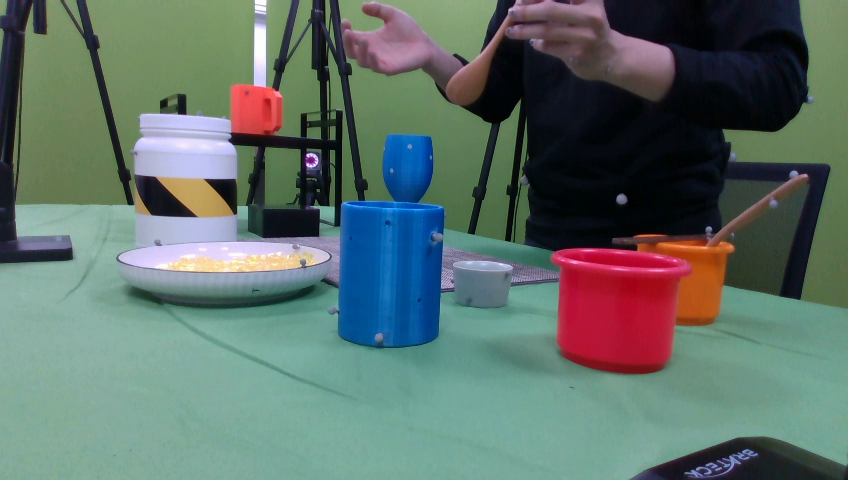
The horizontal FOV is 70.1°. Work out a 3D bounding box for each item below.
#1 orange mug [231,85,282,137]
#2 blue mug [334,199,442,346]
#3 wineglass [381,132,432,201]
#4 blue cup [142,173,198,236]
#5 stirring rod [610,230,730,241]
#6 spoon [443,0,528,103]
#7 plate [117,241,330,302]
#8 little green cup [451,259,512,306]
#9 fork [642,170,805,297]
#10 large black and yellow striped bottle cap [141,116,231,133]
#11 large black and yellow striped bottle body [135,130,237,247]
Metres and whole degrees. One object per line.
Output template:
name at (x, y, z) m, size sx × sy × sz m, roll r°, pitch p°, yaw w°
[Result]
orange mug at (-0.335, -0.261, 1.225) m, size 0.125 × 0.100 × 0.084 m, roll 3°, pitch 6°, yaw 35°
blue mug at (-0.034, 0.020, 0.498) m, size 0.083 × 0.106 × 0.116 m, roll 0°, pitch 7°, yaw -20°
wineglass at (-0.026, -0.062, 0.841) m, size 0.074 × 0.172 × 0.073 m, roll 2°, pitch 8°, yaw 0°
blue cup at (-0.425, -0.060, 1.014) m, size 0.093 × 0.100 × 0.092 m, roll 4°, pitch 9°, yaw 0°
stirring rod at (0.241, -0.005, 0.582) m, size 0.177 × 0.006 × 0.014 m, roll -3°, pitch 9°, yaw -34°
spoon at (0.084, -0.233, 0.681) m, size 0.042 × 0.193 × 0.021 m, roll 28°, pitch 28°, yaw -17°
plate at (-0.203, 0.031, 0.630) m, size 0.209 × 0.038 × 0.209 m, roll 3°, pitch 7°, yaw 0°
little green cup at (0.057, 0.043, 0.611) m, size 0.061 × 0.038 × 0.061 m, roll 3°, pitch 8°, yaw 0°
fork at (0.261, 0.004, 0.545) m, size 0.028 × 0.018 × 0.207 m, roll 5°, pitch -37°, yaw -15°
large black and yellow striped bottle cap at (-0.324, -0.157, 0.826) m, size 0.115 × 0.019 × 0.115 m, roll 1°, pitch 7°, yaw 0°
large black and yellow striped bottle body at (-0.327, -0.074, 0.838) m, size 0.131 × 0.184 × 0.130 m, roll 2°, pitch 7°, yaw 0°
